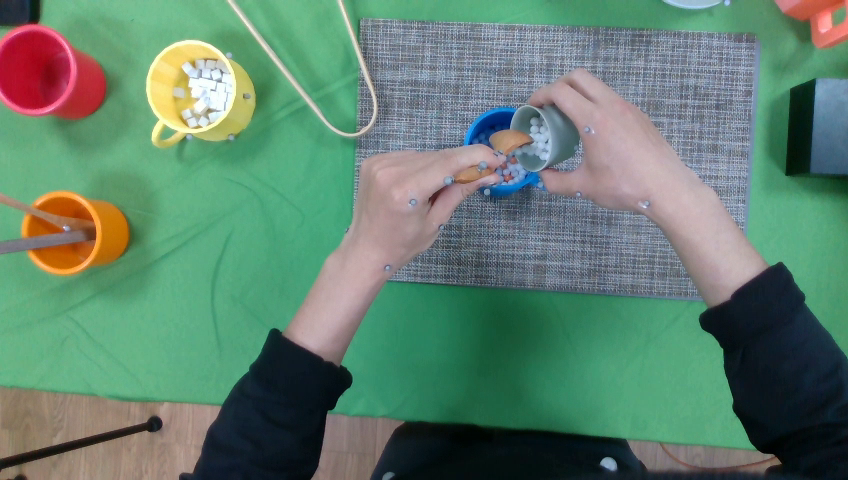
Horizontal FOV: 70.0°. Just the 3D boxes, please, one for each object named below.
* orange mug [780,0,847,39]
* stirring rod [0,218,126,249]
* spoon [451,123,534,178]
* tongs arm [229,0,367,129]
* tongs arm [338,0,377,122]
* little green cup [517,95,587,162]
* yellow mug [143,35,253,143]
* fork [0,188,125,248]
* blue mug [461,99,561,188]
[{"bbox_3d":[0.430,-0.280,0.632,0.083,0.101,0.126,-6,88,4],"label":"orange mug"},{"bbox_3d":[-0.421,-0.004,0.662,0.177,0.006,0.014,-14,88,-38],"label":"stirring rod"},{"bbox_3d":[0.056,-0.073,0.491,0.041,0.193,0.022,8,114,17],"label":"spoon"},{"bbox_3d":[-0.196,-0.276,0.669,0.051,0.026,0.386,-35,98,0],"label":"tongs arm"},{"bbox_3d":[-0.123,-0.319,0.667,0.028,0.027,0.388,-22,99,-5],"label":"tongs arm"},{"bbox_3d":[0.122,-0.104,0.569,0.061,0.039,0.062,8,105,35],"label":"little green cup"},{"bbox_3d":[-0.262,-0.160,0.683,0.100,0.064,0.131,42,95,0],"label":"yellow mug"},{"bbox_3d":[-0.428,-0.039,0.654,0.209,0.018,0.028,31,89,-42],"label":"fork"},{"bbox_3d":[0.095,-0.091,0.649,0.116,0.106,0.082,31,93,1],"label":"blue mug"}]
